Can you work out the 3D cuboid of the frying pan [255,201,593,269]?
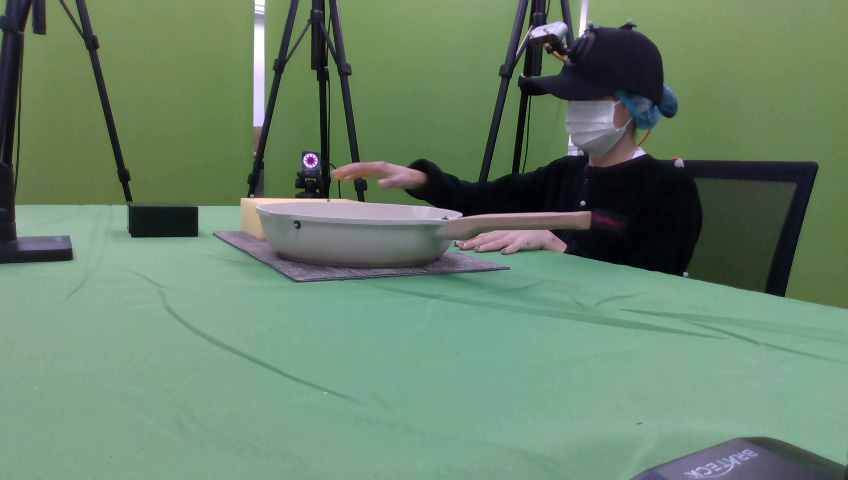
[{"bbox_3d":[-0.011,-0.016,0.802,0.485,0.102,0.308,-2,4,39],"label":"frying pan"}]

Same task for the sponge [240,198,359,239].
[{"bbox_3d":[-0.210,-0.040,1.079,0.208,0.061,0.117,-2,9,-33],"label":"sponge"}]
